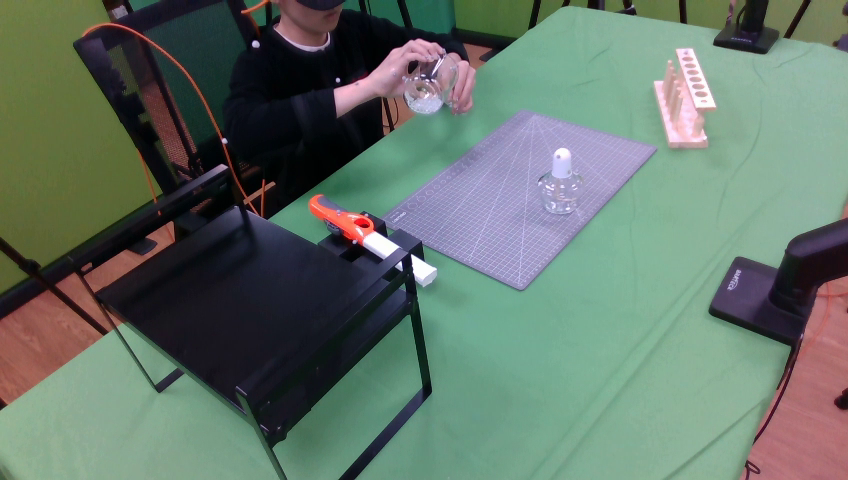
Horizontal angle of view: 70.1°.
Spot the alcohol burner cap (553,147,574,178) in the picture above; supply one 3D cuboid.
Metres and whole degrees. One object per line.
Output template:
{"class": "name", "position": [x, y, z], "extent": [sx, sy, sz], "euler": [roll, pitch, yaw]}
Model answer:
{"class": "alcohol burner cap", "position": [0.224, -0.125, 0.965], "extent": [0.034, 0.048, 0.033], "euler": [-5, 44, 5]}

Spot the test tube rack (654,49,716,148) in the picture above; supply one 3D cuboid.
{"class": "test tube rack", "position": [0.502, -0.281, 1.176], "extent": [0.066, 0.085, 0.241], "euler": [2, 41, 11]}

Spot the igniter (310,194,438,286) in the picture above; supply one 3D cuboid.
{"class": "igniter", "position": [-0.087, -0.007, 0.921], "extent": [0.274, 0.025, 0.057], "euler": [31, 50, 34]}

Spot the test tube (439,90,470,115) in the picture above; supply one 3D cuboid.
{"class": "test tube", "position": [0.060, -0.255, 1.131], "extent": [0.017, 0.017, 0.151], "euler": [10, 3, 20]}

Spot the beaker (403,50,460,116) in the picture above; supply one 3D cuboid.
{"class": "beaker", "position": [0.013, -0.257, 1.006], "extent": [0.073, 0.084, 0.100], "euler": [0, 38, 22]}

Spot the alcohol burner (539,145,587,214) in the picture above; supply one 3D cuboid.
{"class": "alcohol burner", "position": [0.226, -0.102, 0.986], "extent": [0.078, 0.119, 0.077], "euler": [-6, 41, 6]}
